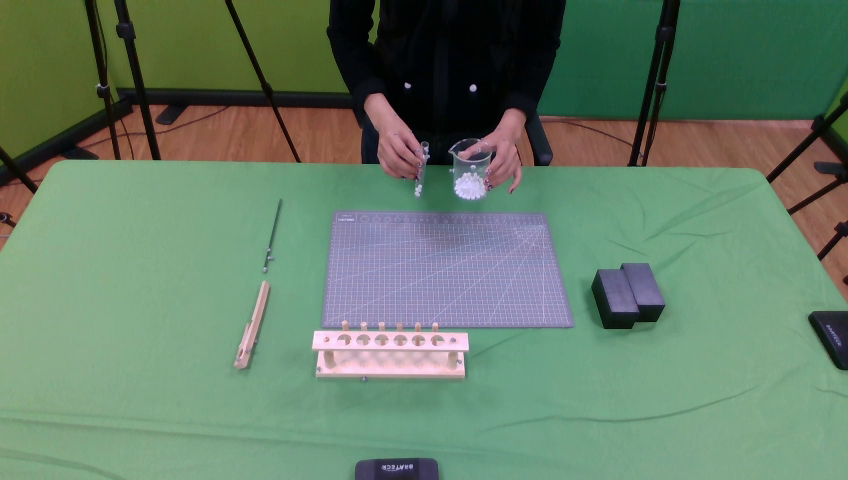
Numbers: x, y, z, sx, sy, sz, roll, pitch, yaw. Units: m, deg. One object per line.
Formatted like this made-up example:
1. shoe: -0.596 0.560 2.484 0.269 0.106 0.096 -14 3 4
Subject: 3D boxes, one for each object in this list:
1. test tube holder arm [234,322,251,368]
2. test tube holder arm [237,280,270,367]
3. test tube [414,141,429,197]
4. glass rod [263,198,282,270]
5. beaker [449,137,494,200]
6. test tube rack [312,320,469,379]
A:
1. test tube holder arm: -0.299 0.173 1.013 0.010 0.015 0.087 -17 41 22
2. test tube holder arm: -0.291 0.140 1.042 0.013 0.015 0.177 -17 41 22
3. test tube: -0.006 -0.134 1.168 0.017 0.151 0.017 3 54 -5
4. glass rod: -0.299 -0.017 1.202 0.008 0.008 0.198 1 46 -2
5. beaker: 0.088 -0.134 1.156 0.084 0.101 0.073 5 44 6
6. test tube rack: -0.054 0.173 0.984 0.242 0.085 0.066 1 46 -3
